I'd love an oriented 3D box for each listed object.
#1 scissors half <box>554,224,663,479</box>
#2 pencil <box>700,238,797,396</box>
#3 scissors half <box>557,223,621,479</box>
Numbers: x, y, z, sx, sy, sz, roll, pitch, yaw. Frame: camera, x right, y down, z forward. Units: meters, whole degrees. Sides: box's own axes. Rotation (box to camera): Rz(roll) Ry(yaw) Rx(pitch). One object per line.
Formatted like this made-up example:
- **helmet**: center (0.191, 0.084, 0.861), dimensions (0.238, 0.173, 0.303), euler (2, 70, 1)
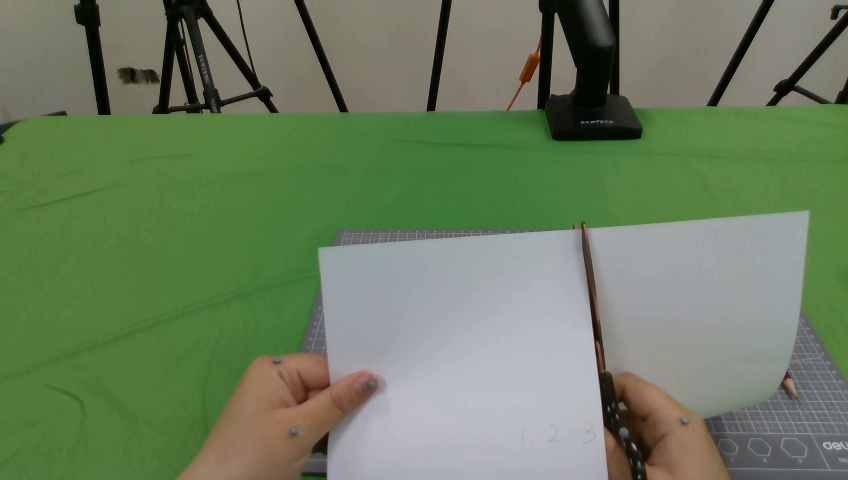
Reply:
- **scissors half**: center (0.101, 0.072, 0.342), dimensions (0.013, 0.040, 0.174), euler (-15, 77, -8)
- **pencil**: center (0.288, 0.061, 0.545), dimensions (0.012, 0.012, 0.192), euler (-2, 39, 0)
- **scissors half**: center (0.099, 0.075, 0.362), dimensions (0.013, 0.175, 0.040), euler (-14, 6, -13)
